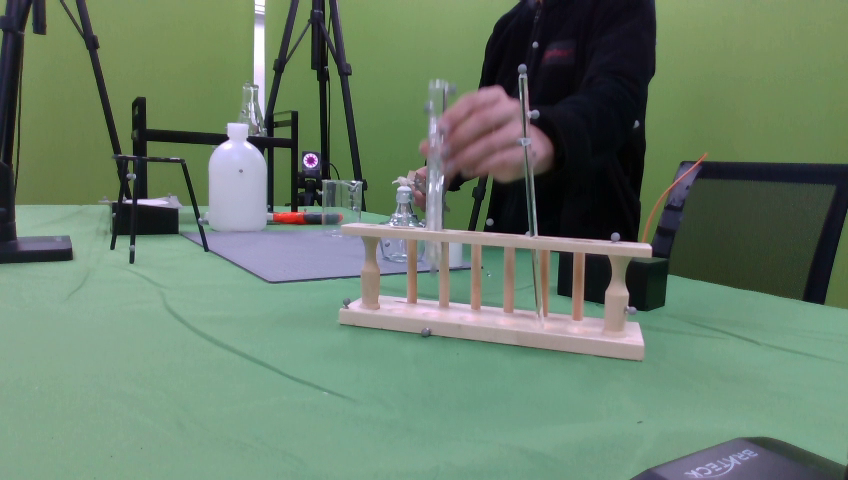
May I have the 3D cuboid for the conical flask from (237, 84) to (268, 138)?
[{"bbox_3d":[-0.402,-0.299,1.406,0.075,0.122,0.075,2,7,0],"label":"conical flask"}]

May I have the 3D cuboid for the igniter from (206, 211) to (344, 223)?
[{"bbox_3d":[-0.303,-0.048,1.249,0.278,0.025,0.057,-2,-2,-27],"label":"igniter"}]

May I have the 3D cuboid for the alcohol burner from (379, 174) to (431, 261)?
[{"bbox_3d":[-0.027,-0.031,0.838,0.078,0.119,0.078,0,6,0],"label":"alcohol burner"}]

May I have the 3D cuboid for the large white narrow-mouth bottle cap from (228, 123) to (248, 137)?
[{"bbox_3d":[-0.338,-0.199,1.097,0.038,0.024,0.037,2,8,0],"label":"large white narrow-mouth bottle cap"}]

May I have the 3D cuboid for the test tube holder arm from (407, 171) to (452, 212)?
[{"bbox_3d":[0.012,-0.079,1.012,0.015,0.013,0.179,21,-7,25],"label":"test tube holder arm"}]

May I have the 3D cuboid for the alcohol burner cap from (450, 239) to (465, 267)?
[{"bbox_3d":[0.041,0.010,0.815,0.034,0.048,0.034,3,9,0],"label":"alcohol burner cap"}]

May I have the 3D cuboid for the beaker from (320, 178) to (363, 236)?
[{"bbox_3d":[-0.145,-0.059,1.079,0.074,0.100,0.083,-4,10,-36],"label":"beaker"}]

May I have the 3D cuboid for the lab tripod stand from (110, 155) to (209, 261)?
[{"bbox_3d":[-0.362,-0.046,0.806,0.148,0.131,0.148,2,5,0],"label":"lab tripod stand"}]

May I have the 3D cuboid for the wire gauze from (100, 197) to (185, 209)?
[{"bbox_3d":[-0.469,-0.062,1.008,0.126,0.011,0.121,-2,8,-25],"label":"wire gauze"}]

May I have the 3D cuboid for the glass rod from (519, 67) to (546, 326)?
[{"bbox_3d":[0.083,-0.028,0.458,0.008,0.199,0.008,-6,11,2],"label":"glass rod"}]

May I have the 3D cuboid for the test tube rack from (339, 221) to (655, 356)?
[{"bbox_3d":[0.056,0.032,0.495,0.242,0.085,0.067,4,7,15],"label":"test tube rack"}]

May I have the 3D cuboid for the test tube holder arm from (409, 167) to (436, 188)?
[{"bbox_3d":[-0.002,-0.096,0.972,0.015,0.010,0.088,21,-6,25],"label":"test tube holder arm"}]

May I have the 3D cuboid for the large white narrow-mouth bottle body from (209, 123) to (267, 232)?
[{"bbox_3d":[-0.340,-0.115,1.109,0.102,0.194,0.102,2,8,0],"label":"large white narrow-mouth bottle body"}]

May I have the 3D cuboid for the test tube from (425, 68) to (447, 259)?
[{"bbox_3d":[0.009,-0.059,0.479,0.017,0.150,0.017,1,6,0],"label":"test tube"}]
